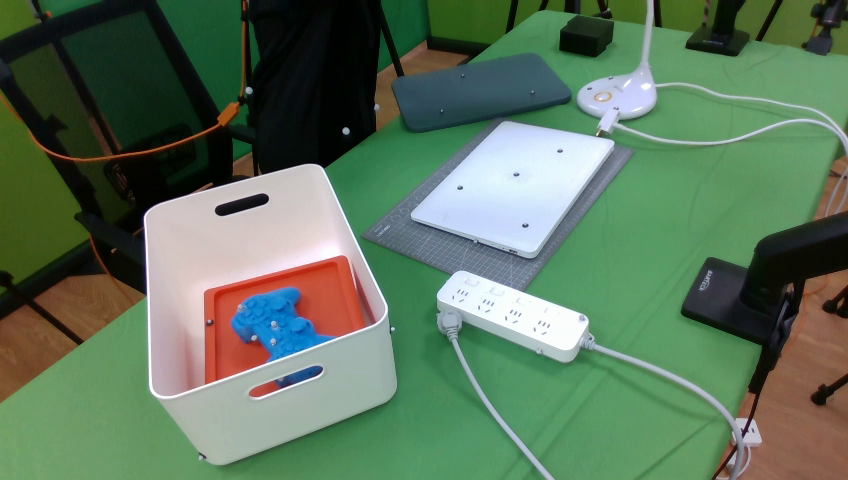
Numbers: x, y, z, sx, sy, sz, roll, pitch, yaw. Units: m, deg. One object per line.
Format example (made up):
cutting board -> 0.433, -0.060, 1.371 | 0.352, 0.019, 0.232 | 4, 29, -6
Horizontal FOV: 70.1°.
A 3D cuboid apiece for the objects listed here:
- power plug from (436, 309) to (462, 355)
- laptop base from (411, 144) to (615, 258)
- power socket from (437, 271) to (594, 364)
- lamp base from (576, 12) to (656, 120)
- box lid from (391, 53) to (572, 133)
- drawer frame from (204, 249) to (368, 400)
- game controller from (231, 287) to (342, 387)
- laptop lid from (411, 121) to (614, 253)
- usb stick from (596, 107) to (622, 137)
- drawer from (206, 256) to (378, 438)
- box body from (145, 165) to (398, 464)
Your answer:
power plug -> 0.032, 0.126, 0.810 | 0.035, 0.053, 0.072 | 3, 59, 7
laptop base -> 0.167, -0.102, 1.074 | 0.234, 0.023, 0.355 | 16, 45, 30
power socket -> 0.118, 0.102, 0.830 | 0.225, 0.033, 0.072 | 20, 48, 28
lamp base -> 0.403, -0.359, 1.218 | 0.180, 0.181, 0.159 | -24, 43, -23
box lid -> 0.122, -0.339, 1.366 | 0.372, 0.015, 0.261 | -12, 40, -5
drawer frame -> -0.174, 0.129, 0.790 | 0.202, 0.083, 0.212 | -16, 45, -8
game controller -> -0.167, 0.110, 0.734 | 0.097, 0.052, 0.154 | -35, 47, -22
laptop lid -> 0.164, -0.112, 1.068 | 0.240, 0.013, 0.357 | 19, 46, 30
usb stick -> 0.355, -0.223, 1.168 | 0.027, 0.059, 0.022 | 37, 14, 34
drawer -> -0.177, 0.130, 0.787 | 0.195, 0.073, 0.210 | -14, 39, -9
box body -> -0.205, 0.080, 0.802 | 0.255, 0.161, 0.361 | -18, 41, -13
